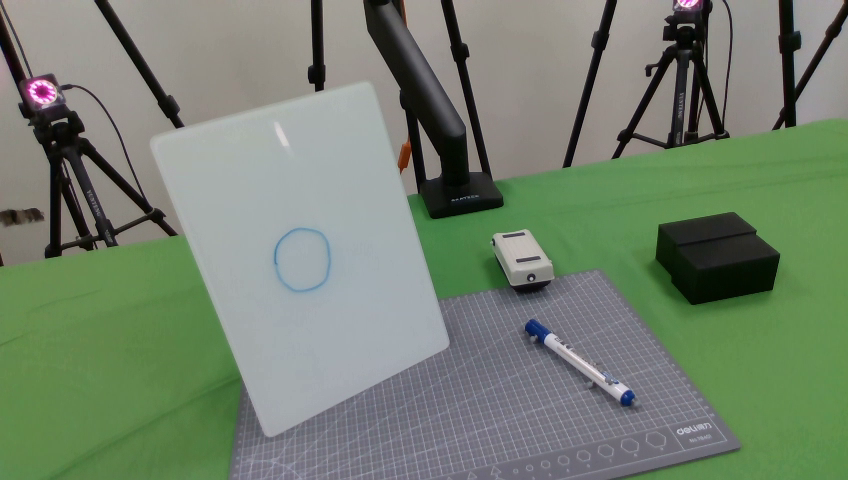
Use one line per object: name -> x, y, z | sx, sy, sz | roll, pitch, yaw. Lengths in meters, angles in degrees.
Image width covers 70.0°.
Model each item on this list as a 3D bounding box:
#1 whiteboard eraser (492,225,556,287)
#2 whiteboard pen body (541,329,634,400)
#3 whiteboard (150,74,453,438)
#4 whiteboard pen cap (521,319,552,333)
whiteboard eraser -> 0.126, 0.020, 0.780 | 0.055, 0.042, 0.111 | -11, 27, -3
whiteboard pen body -> 0.159, 0.121, 0.626 | 0.017, 0.017, 0.139 | -23, 34, -24
whiteboard -> -0.130, 0.007, 0.654 | 0.217, 0.307, 0.143 | -23, 15, -23
whiteboard pen cap -> 0.125, 0.095, 0.671 | 0.033, 0.018, 0.018 | 0, 32, 15
